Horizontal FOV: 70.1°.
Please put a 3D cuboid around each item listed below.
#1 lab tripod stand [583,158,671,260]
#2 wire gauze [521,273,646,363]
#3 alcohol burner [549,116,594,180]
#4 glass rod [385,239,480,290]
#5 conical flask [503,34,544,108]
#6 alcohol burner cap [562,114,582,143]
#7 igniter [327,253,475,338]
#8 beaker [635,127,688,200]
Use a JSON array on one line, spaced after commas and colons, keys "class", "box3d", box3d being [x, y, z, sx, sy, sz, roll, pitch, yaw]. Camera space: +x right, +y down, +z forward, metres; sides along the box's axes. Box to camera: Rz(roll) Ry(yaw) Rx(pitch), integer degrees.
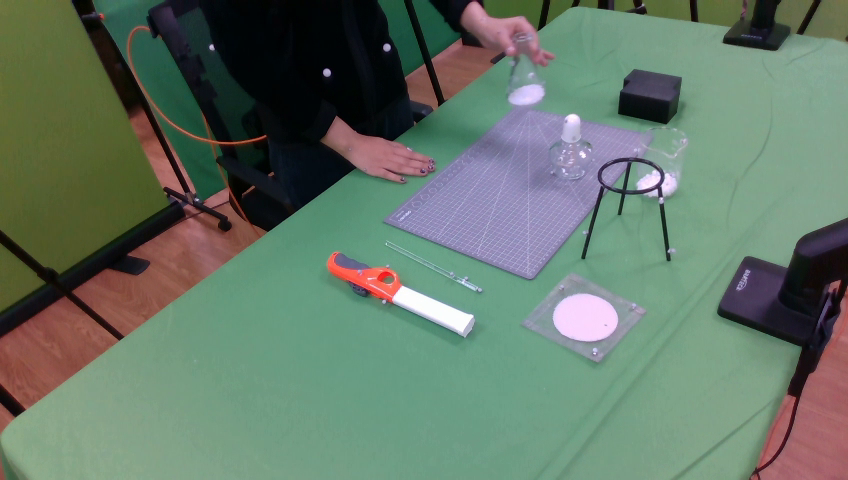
[{"class": "lab tripod stand", "box3d": [0.300, -0.046, 0.895, 0.148, 0.132, 0.147, -7, 38, 6]}, {"class": "wire gauze", "box3d": [0.219, 0.105, 0.830, 0.120, 0.011, 0.125, 28, 54, 37]}, {"class": "alcohol burner", "box3d": [0.258, -0.166, 1.055, 0.078, 0.120, 0.077, -6, 42, 6]}, {"class": "glass rod", "box3d": [0.009, 0.036, 0.950, 0.198, 0.008, 0.008, 27, 52, 35]}, {"class": "conical flask", "box3d": [0.176, -0.309, 1.097, 0.075, 0.122, 0.075, -8, 39, 7]}, {"class": "alcohol burner cap", "box3d": [0.254, -0.192, 1.030, 0.034, 0.048, 0.033, -4, 50, 6]}, {"class": "igniter", "box3d": [-0.045, 0.077, 0.898, 0.274, 0.025, 0.057, 22, 60, 32]}, {"class": "beaker", "box3d": [0.388, -0.122, 0.994, 0.074, 0.101, 0.083, -8, 40, 2]}]
